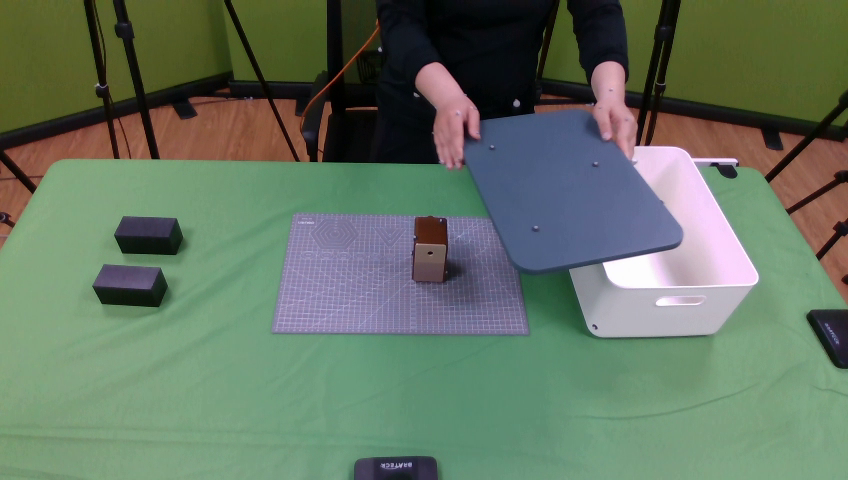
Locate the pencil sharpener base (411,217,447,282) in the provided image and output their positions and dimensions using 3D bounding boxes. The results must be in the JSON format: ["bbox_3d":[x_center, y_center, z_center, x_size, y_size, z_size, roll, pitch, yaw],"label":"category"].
[{"bbox_3d":[0.009,0.017,1.118,0.061,0.107,0.076,1,45,-2],"label":"pencil sharpener base"}]

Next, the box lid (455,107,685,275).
[{"bbox_3d":[0.217,-0.096,0.971,0.263,0.015,0.369,-10,46,-9],"label":"box lid"}]

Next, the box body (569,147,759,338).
[{"bbox_3d":[0.400,-0.001,1.131,0.254,0.161,0.361,-1,46,-5],"label":"box body"}]

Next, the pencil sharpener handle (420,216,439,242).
[{"bbox_3d":[0.008,-0.027,1.145,0.036,0.068,0.030,6,44,-6],"label":"pencil sharpener handle"}]
